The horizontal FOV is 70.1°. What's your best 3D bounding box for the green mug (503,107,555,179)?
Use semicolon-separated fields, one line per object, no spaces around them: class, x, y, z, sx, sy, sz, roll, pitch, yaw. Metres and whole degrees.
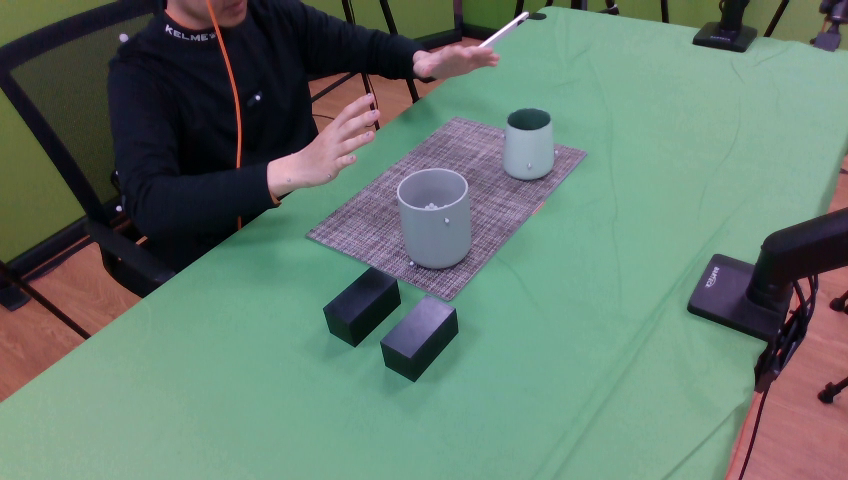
green mug;0.181;-0.180;1.083;0.093;0.105;0.124;-13;41;-6

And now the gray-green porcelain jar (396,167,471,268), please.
gray-green porcelain jar;0.018;-0.029;0.913;0.106;0.127;0.105;-4;41;4
